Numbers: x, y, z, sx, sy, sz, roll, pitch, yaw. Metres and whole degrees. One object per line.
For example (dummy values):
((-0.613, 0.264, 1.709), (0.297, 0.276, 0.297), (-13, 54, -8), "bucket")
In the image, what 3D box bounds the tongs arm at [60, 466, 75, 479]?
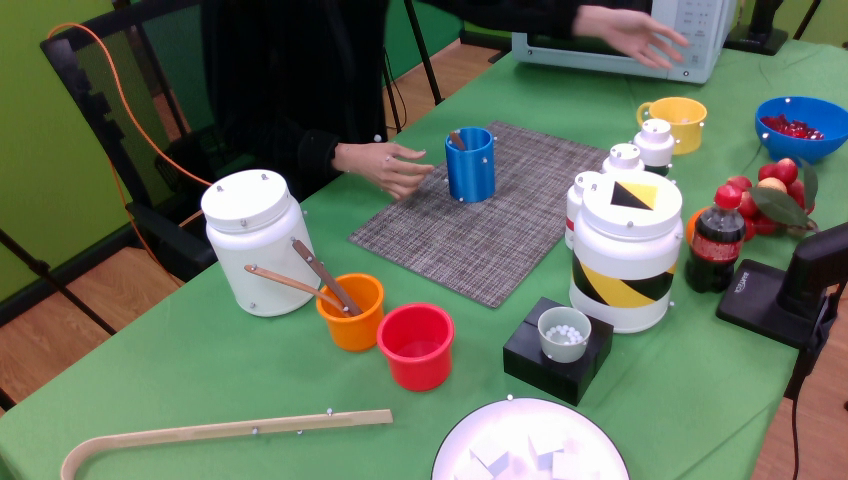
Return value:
((-0.239, 0.301, 0.649), (0.386, 0.028, 0.028), (6, 49, 17), "tongs arm")

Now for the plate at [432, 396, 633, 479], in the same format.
((0.112, 0.261, 0.634), (0.209, 0.038, 0.208), (-5, 40, 4), "plate")

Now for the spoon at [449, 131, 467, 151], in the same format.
((0.065, -0.145, 1.000), (0.041, 0.195, 0.021), (0, 76, 16), "spoon")

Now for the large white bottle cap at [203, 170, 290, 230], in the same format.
((-0.241, -0.057, 0.822), (0.115, 0.018, 0.114), (-4, 41, 4), "large white bottle cap")

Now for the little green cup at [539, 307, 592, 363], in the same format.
((0.168, 0.115, 0.721), (0.061, 0.039, 0.061), (-4, 41, 4), "little green cup")

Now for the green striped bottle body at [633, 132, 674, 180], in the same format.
((0.376, -0.135, 1.001), (0.063, 0.120, 0.063), (-5, 40, 4), "green striped bottle body")

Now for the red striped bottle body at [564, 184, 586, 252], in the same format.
((0.247, -0.041, 0.910), (0.063, 0.120, 0.062), (-3, 39, 3), "red striped bottle body")

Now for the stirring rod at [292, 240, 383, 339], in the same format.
((-0.118, 0.068, 0.826), (0.176, 0.006, 0.014), (49, 59, -4), "stirring rod")

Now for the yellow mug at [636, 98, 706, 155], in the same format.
((0.453, -0.217, 1.129), (0.100, 0.064, 0.129), (-34, 46, -27), "yellow mug")

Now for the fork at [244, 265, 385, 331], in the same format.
((-0.142, 0.078, 0.806), (0.209, 0.018, 0.028), (30, 33, -24), "fork")

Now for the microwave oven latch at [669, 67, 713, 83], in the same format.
((0.556, -0.348, 1.261), (0.078, 0.029, 0.030), (15, 46, 26), "microwave oven latch")

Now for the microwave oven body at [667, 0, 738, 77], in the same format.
((0.462, -0.552, 1.369), (0.439, 0.261, 0.326), (15, 45, 26), "microwave oven body")

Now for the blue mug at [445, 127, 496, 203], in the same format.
((0.082, -0.140, 1.059), (0.082, 0.106, 0.116), (-3, 40, 6), "blue mug")

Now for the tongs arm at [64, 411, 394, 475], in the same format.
((-0.228, 0.240, 0.715), (0.385, 0.026, 0.050), (-4, 43, 5), "tongs arm")

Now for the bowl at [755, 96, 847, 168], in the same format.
((0.645, -0.177, 1.041), (0.151, 0.077, 0.150), (-5, 40, 4), "bowl")

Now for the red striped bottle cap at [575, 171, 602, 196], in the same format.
((0.242, -0.081, 0.876), (0.044, 0.018, 0.044), (-5, 44, 5), "red striped bottle cap")

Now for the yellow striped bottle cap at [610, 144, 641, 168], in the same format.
((0.307, -0.128, 0.923), (0.044, 0.019, 0.044), (-5, 39, 5), "yellow striped bottle cap")

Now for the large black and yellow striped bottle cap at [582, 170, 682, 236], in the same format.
((0.252, -0.048, 0.735), (0.115, 0.019, 0.114), (-3, 40, 3), "large black and yellow striped bottle cap")

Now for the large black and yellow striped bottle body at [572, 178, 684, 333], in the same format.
((0.262, 0.017, 0.788), (0.131, 0.185, 0.130), (-5, 40, 4), "large black and yellow striped bottle body")

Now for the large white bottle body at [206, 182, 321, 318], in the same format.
((-0.233, 0.008, 0.876), (0.130, 0.185, 0.130), (-5, 40, 4), "large white bottle body")

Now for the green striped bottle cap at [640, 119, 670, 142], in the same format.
((0.370, -0.175, 0.968), (0.044, 0.020, 0.044), (-3, 41, 3), "green striped bottle cap")

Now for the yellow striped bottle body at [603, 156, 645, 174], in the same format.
((0.313, -0.089, 0.956), (0.063, 0.121, 0.062), (-4, 40, 4), "yellow striped bottle body")

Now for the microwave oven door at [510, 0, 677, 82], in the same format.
((0.353, -0.476, 1.289), (0.353, 0.245, 0.039), (15, 44, 25), "microwave oven door")
